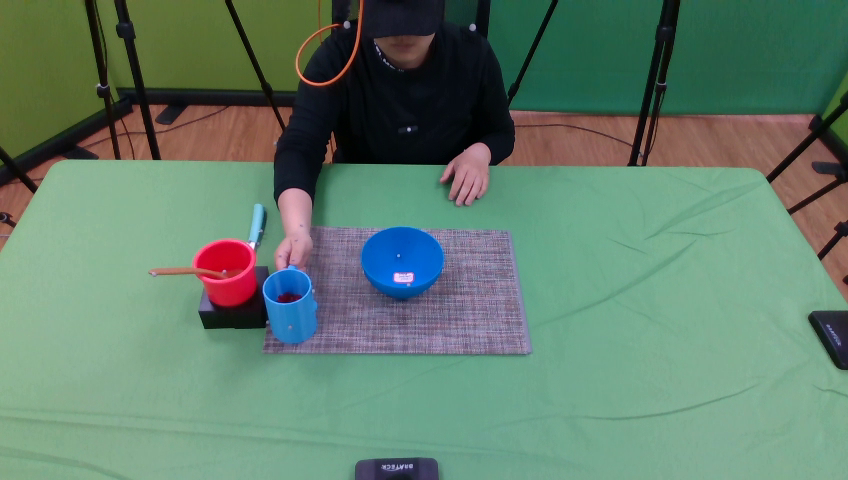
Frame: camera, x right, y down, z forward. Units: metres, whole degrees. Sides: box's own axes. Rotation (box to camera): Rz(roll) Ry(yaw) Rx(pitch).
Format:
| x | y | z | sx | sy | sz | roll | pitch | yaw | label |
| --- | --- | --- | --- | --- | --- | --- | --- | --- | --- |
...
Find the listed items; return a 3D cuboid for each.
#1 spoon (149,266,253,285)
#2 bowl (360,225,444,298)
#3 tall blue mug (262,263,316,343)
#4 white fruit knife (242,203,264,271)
| x | y | z | sx | sy | sz | roll | pitch | yaw | label |
| --- | --- | --- | --- | --- | --- | --- | --- | --- | --- |
| -0.351 | 0.052 | 0.968 | 0.041 | 0.021 | 0.194 | 41 | 12 | 28 | spoon |
| -0.040 | 0.053 | 1.099 | 0.151 | 0.077 | 0.150 | 2 | 46 | -2 | bowl |
| -0.230 | 0.100 | 1.018 | 0.078 | 0.108 | 0.106 | -22 | 51 | -21 | tall blue mug |
| -0.334 | 0.001 | 1.179 | 0.027 | 0.016 | 0.206 | -19 | 46 | 17 | white fruit knife |
